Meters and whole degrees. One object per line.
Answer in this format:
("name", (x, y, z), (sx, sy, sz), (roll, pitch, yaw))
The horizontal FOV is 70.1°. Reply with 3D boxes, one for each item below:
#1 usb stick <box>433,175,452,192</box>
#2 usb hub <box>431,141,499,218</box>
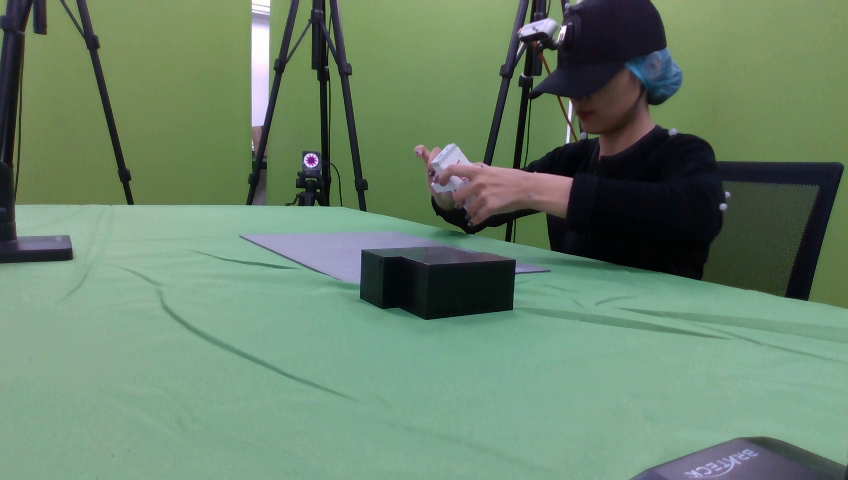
("usb stick", (0.042, -0.097, 1.000), (0.027, 0.021, 0.059), (-43, 21, -25))
("usb hub", (0.067, -0.096, 0.978), (0.049, 0.125, 0.025), (-49, 24, -20))
